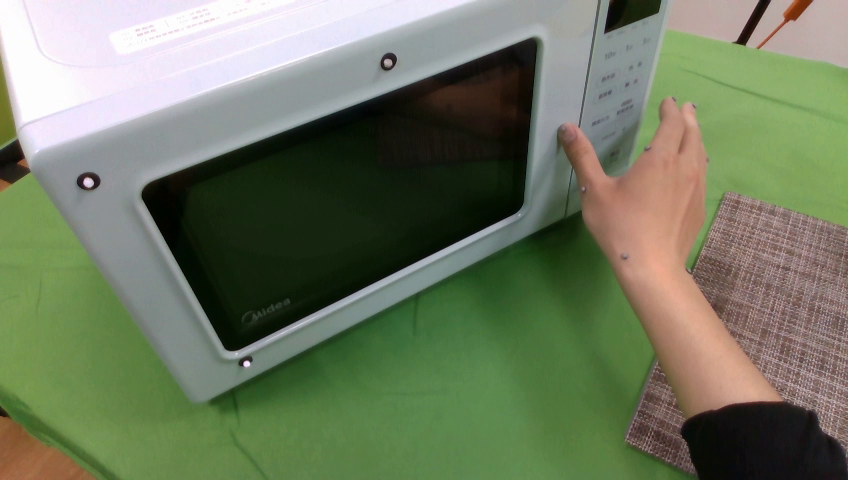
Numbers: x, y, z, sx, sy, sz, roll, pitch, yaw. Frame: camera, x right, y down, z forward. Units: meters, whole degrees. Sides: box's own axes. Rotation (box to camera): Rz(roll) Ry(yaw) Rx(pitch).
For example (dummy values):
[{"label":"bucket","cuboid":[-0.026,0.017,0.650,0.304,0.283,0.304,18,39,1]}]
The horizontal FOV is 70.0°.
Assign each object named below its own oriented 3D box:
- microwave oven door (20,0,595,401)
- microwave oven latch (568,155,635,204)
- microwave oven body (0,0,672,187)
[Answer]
[{"label":"microwave oven door","cuboid":[-0.035,-0.040,0.431,0.356,0.246,0.039,-26,50,-19]},{"label":"microwave oven latch","cuboid":[0.161,-0.062,0.576,0.079,0.030,0.030,-22,50,-14]},{"label":"microwave oven body","cuboid":[-0.074,-0.141,0.535,0.442,0.263,0.322,-26,51,-18]}]
